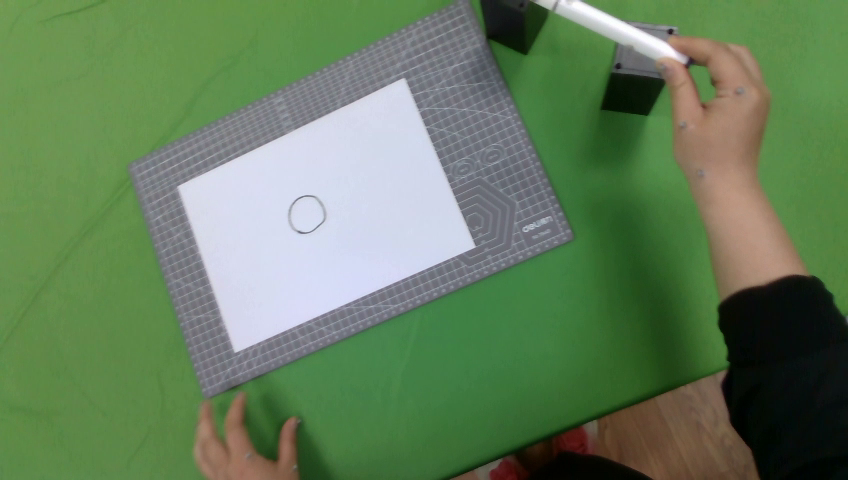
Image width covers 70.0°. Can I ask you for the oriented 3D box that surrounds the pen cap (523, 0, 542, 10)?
[{"bbox_3d":[0.083,-0.200,0.485,0.038,0.017,0.017,26,90,3],"label":"pen cap"}]

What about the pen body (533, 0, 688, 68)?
[{"bbox_3d":[0.140,-0.171,0.481,0.144,0.017,0.017,24,89,1],"label":"pen body"}]
